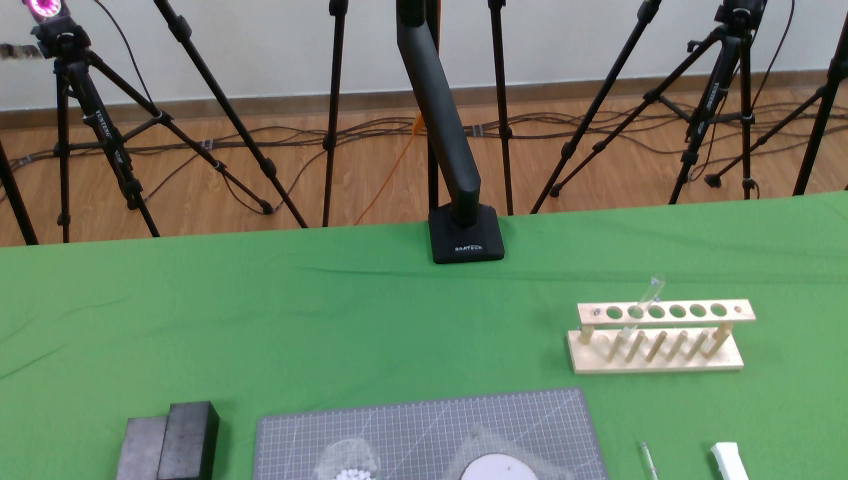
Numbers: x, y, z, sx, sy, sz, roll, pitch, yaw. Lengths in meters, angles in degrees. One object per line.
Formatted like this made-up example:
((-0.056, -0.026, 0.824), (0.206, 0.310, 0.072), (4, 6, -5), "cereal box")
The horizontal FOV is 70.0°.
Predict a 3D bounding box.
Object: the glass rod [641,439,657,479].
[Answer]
((0.297, 0.342, 0.742), (0.008, 0.008, 0.197), (-3, 53, -3), "glass rod")

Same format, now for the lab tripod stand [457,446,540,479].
((0.076, 0.303, 0.686), (0.148, 0.132, 0.147), (0, 52, 1), "lab tripod stand")

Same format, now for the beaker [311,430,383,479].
((-0.088, 0.284, 0.723), (0.084, 0.101, 0.073), (-18, 52, -14), "beaker")

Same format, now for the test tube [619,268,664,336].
((0.298, 0.089, 0.838), (0.017, 0.151, 0.017), (3, 49, -3), "test tube")

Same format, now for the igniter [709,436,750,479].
((0.399, 0.366, 0.710), (0.057, 0.025, 0.273), (4, 50, -11), "igniter")

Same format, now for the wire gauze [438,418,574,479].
((0.078, 0.262, 0.633), (0.124, 0.011, 0.121), (25, 56, 20), "wire gauze")

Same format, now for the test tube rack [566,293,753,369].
((0.336, 0.131, 0.868), (0.242, 0.086, 0.066), (-2, 50, -1), "test tube rack")
